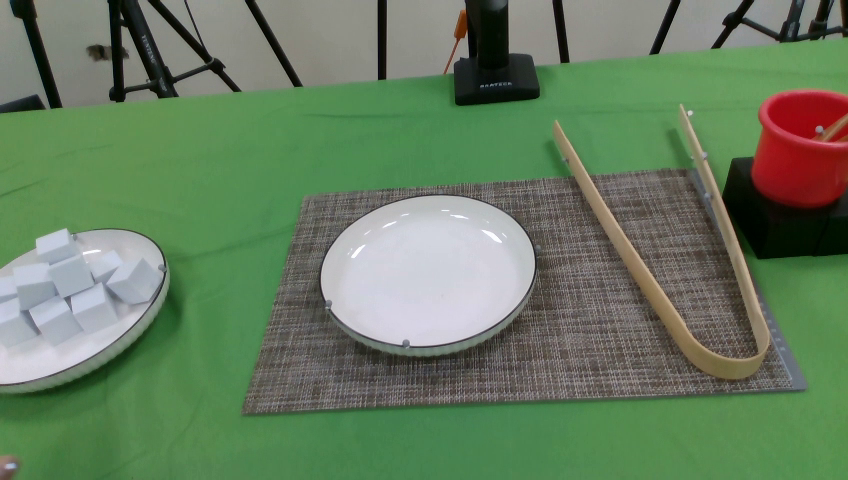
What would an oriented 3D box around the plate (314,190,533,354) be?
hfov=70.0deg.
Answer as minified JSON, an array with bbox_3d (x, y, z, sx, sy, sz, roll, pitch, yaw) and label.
[{"bbox_3d":[0.000,0.030,0.587,0.207,0.039,0.205,-4,42,4],"label":"plate"}]

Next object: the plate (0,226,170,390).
[{"bbox_3d":[-0.357,0.067,0.606,0.209,0.038,0.207,-4,42,4],"label":"plate"}]

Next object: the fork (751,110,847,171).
[{"bbox_3d":[0.393,-0.118,0.534,0.207,0.019,0.028,-36,9,30],"label":"fork"}]

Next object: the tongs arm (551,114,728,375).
[{"bbox_3d":[0.195,-0.023,0.620,0.028,0.028,0.383,-7,42,-6],"label":"tongs arm"}]

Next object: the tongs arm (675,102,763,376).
[{"bbox_3d":[0.278,-0.030,0.615,0.051,0.027,0.381,0,43,6],"label":"tongs arm"}]

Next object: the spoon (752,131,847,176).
[{"bbox_3d":[0.365,-0.088,0.505,0.041,0.193,0.021,-28,88,-27],"label":"spoon"}]
